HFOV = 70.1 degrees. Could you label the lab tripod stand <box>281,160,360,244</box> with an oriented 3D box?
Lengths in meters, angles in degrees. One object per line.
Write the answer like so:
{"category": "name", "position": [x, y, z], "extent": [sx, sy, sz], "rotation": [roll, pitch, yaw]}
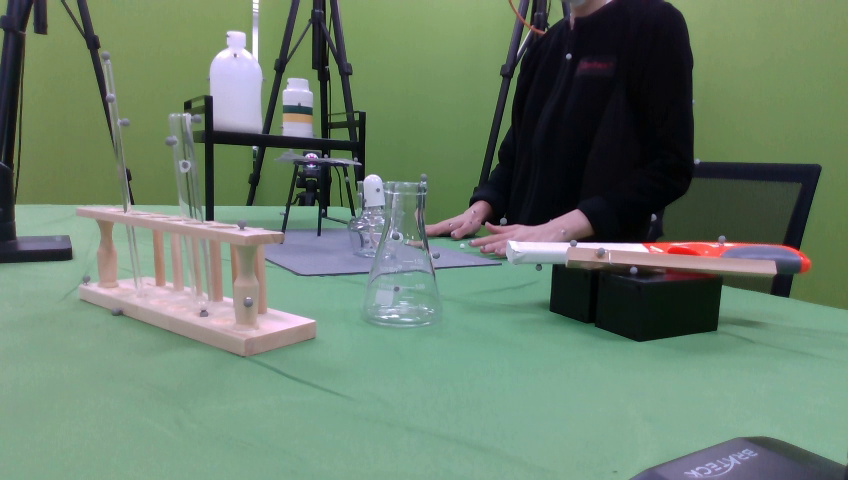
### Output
{"category": "lab tripod stand", "position": [-0.170, -0.063, 0.983], "extent": [0.148, 0.131, 0.148], "rotation": [1, 6, 0]}

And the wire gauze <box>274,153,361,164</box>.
{"category": "wire gauze", "position": [-0.174, -0.130, 0.978], "extent": [0.125, 0.011, 0.121], "rotation": [1, 6, -19]}

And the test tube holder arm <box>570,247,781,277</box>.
{"category": "test tube holder arm", "position": [0.217, 0.019, 0.524], "extent": [0.178, 0.015, 0.013], "rotation": [3, -23, 3]}

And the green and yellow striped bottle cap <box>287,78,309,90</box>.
{"category": "green and yellow striped bottle cap", "position": [-0.265, -0.326, 1.268], "extent": [0.045, 0.020, 0.045], "rotation": [4, 6, 0]}

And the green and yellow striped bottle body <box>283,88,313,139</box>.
{"category": "green and yellow striped bottle body", "position": [-0.266, -0.275, 1.275], "extent": [0.063, 0.119, 0.063], "rotation": [3, 7, 0]}

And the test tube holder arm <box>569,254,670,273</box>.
{"category": "test tube holder arm", "position": [0.172, 0.019, 0.532], "extent": [0.088, 0.015, 0.010], "rotation": [3, -23, 4]}

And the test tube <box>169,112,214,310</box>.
{"category": "test tube", "position": [-0.175, -0.020, 0.455], "extent": [0.017, 0.150, 0.017], "rotation": [-3, 9, 1]}

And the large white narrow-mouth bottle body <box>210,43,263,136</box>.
{"category": "large white narrow-mouth bottle body", "position": [-0.369, -0.305, 1.194], "extent": [0.102, 0.194, 0.102], "rotation": [3, 8, 0]}

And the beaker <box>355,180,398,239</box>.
{"category": "beaker", "position": [-0.083, -0.055, 1.083], "extent": [0.083, 0.100, 0.074], "rotation": [8, 9, 31]}

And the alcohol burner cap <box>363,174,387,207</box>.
{"category": "alcohol burner cap", "position": [-0.072, -0.070, 0.861], "extent": [0.034, 0.048, 0.034], "rotation": [-7, 7, 1]}

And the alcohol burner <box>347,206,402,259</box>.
{"category": "alcohol burner", "position": [-0.071, -0.034, 0.867], "extent": [0.078, 0.119, 0.078], "rotation": [0, 7, 0]}

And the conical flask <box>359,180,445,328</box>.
{"category": "conical flask", "position": [-0.017, 0.010, 0.522], "extent": [0.075, 0.122, 0.075], "rotation": [2, 7, 0]}

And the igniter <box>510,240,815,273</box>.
{"category": "igniter", "position": [0.220, 0.015, 0.565], "extent": [0.277, 0.025, 0.057], "rotation": [2, 16, 0]}

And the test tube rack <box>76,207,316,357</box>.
{"category": "test tube rack", "position": [-0.196, 0.023, 0.500], "extent": [0.241, 0.085, 0.067], "rotation": [8, 9, 36]}

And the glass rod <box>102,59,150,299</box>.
{"category": "glass rod", "position": [-0.244, -0.045, 0.496], "extent": [0.008, 0.199, 0.008], "rotation": [-3, 13, 1]}

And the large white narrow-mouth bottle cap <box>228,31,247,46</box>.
{"category": "large white narrow-mouth bottle cap", "position": [-0.364, -0.392, 1.180], "extent": [0.038, 0.024, 0.037], "rotation": [3, 8, 0]}
